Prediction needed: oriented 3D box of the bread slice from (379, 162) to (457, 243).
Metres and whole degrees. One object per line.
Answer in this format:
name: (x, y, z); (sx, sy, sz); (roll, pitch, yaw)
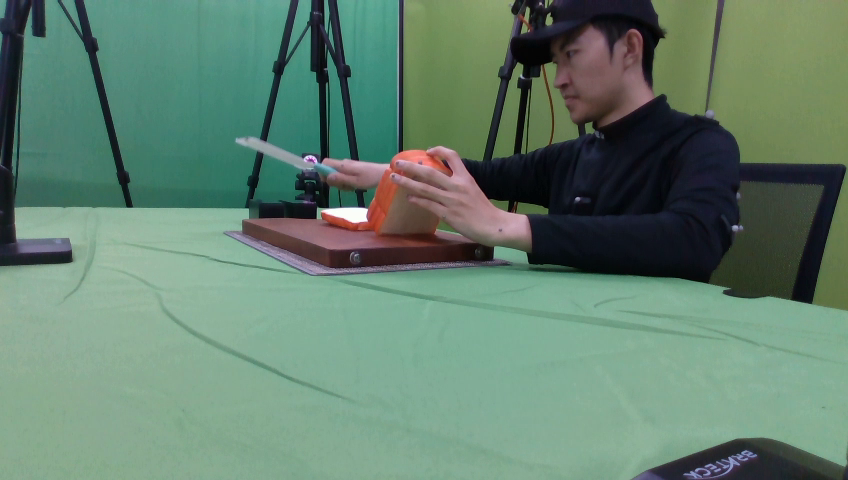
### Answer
bread slice: (-0.007, -0.054, 0.902); (0.107, 0.134, 0.018); (-5, 37, -31)

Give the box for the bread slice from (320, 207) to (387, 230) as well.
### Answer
bread slice: (-0.113, -0.038, 1.042); (0.105, 0.019, 0.131); (-6, 16, -41)

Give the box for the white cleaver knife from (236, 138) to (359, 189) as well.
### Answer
white cleaver knife: (-0.251, -0.160, 1.251); (0.065, 0.021, 0.288); (1, -14, 45)
